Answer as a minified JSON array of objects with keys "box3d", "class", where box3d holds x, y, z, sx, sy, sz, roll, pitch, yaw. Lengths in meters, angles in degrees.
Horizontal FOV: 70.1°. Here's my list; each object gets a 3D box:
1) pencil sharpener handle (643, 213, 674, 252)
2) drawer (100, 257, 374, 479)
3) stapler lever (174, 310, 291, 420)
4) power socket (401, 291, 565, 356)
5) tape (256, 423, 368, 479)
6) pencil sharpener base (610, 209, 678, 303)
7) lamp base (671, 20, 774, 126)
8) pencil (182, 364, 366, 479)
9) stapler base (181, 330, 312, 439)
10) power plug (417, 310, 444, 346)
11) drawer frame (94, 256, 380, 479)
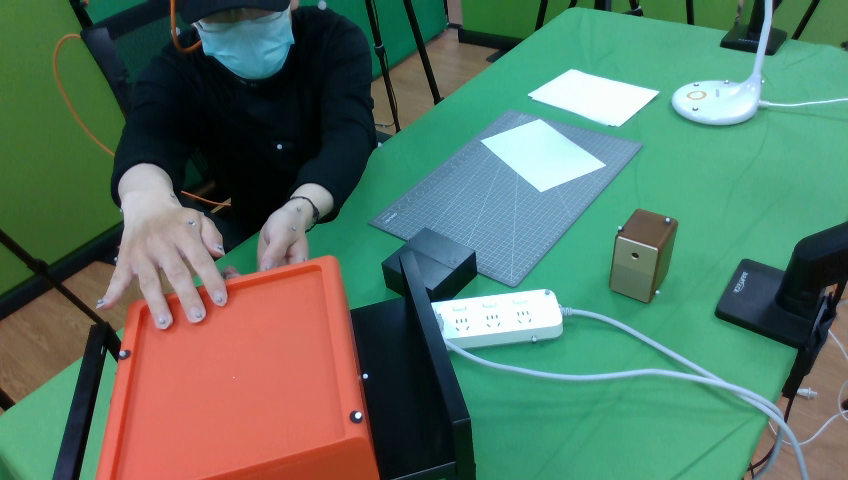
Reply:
[{"box3d":[0.338,-0.016,0.857,0.035,0.068,0.031,1,35,44],"class":"pencil sharpener handle"},{"box3d":[-0.158,0.126,0.527,0.195,0.073,0.210,-13,41,-7],"class":"drawer"},{"box3d":[-0.173,0.109,0.546,0.118,0.040,0.026,-37,44,-21],"class":"stapler lever"},{"box3d":[0.080,0.112,0.822,0.227,0.033,0.072,-6,41,0],"class":"power socket"},{"box3d":[-0.121,0.263,0.660,0.117,0.053,0.116,-5,39,4],"class":"tape"},{"box3d":[0.304,0.021,0.839,0.061,0.107,0.077,21,48,30],"class":"pencil sharpener base"},{"box3d":[0.581,-0.332,1.154,0.179,0.181,0.160,2,41,7],"class":"lamp base"},{"box3d":[-0.127,0.159,0.523,0.195,0.012,0.012,-30,45,-31],"class":"pencil"},{"box3d":[-0.167,0.126,0.564,0.131,0.024,0.041,-37,44,-20],"class":"stapler base"},{"box3d":[0.006,0.122,0.785,0.035,0.053,0.072,-1,40,9],"class":"power plug"},{"box3d":[-0.155,0.125,0.525,0.202,0.083,0.212,-13,41,-8],"class":"drawer frame"}]
